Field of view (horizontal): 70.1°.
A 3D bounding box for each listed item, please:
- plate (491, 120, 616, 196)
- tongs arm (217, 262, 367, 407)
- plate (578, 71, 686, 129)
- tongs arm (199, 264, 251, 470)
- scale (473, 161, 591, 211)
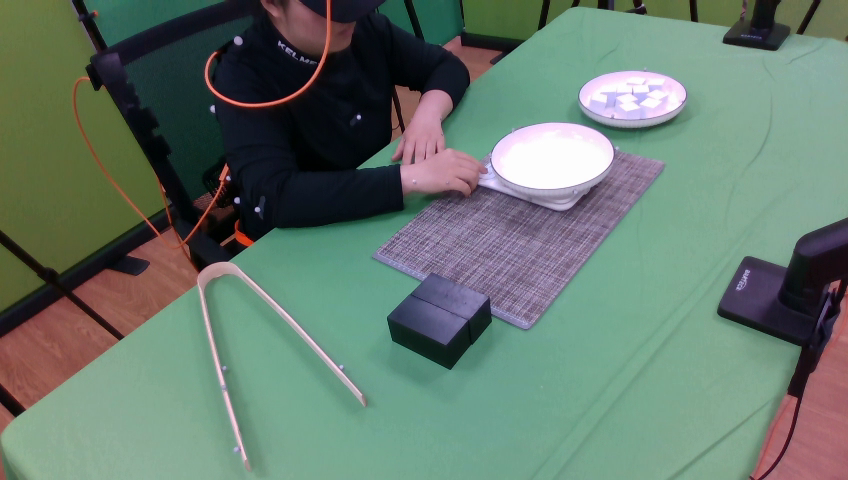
[{"bbox_3d":[0.221,-0.137,1.038,0.207,0.039,0.206,-6,41,5],"label":"plate"},{"bbox_3d":[-0.200,0.122,0.871,0.028,0.028,0.384,-36,46,-24],"label":"tongs arm"},{"bbox_3d":[0.416,-0.279,1.222,0.209,0.038,0.208,-5,41,5],"label":"plate"},{"bbox_3d":[-0.269,0.154,0.841,0.051,0.026,0.381,-23,40,-17],"label":"tongs arm"},{"bbox_3d":[0.202,-0.121,1.074,0.199,0.032,0.149,23,49,33],"label":"scale"}]
